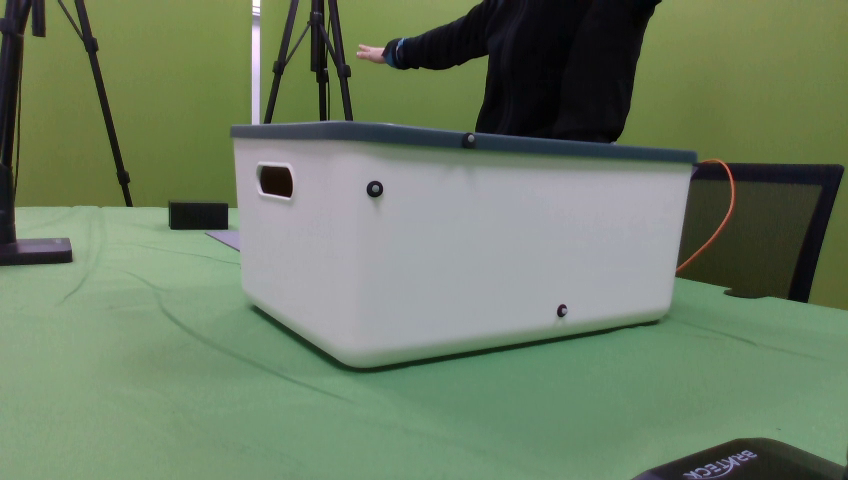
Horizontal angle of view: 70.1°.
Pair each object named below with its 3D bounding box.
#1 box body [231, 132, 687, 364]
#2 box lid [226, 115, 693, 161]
[{"bbox_3d":[0.031,-0.013,0.563,0.366,0.160,0.253,-3,8,-33],"label":"box body"},{"bbox_3d":[0.031,-0.086,0.554,0.373,0.015,0.262,-2,8,-33],"label":"box lid"}]
